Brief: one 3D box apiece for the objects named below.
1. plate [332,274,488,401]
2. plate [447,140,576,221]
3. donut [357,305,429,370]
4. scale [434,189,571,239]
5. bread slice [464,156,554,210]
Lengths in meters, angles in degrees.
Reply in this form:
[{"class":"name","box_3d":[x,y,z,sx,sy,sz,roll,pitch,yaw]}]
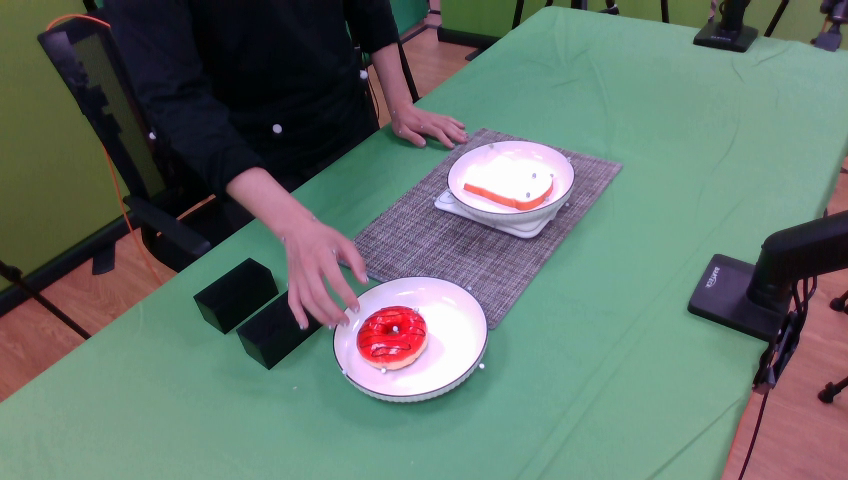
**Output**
[{"class":"plate","box_3d":[-0.017,0.130,0.808,0.207,0.039,0.206,-4,41,4]},{"class":"plate","box_3d":[0.144,-0.094,0.995,0.209,0.038,0.208,-4,41,4]},{"class":"donut","box_3d":[-0.041,0.127,0.798,0.099,0.048,0.098,-7,40,6]},{"class":"scale","box_3d":[0.132,-0.075,1.025,0.199,0.032,0.149,22,48,30]},{"class":"bread slice","box_3d":[0.149,-0.095,0.998,0.130,0.019,0.105,25,51,32]}]
